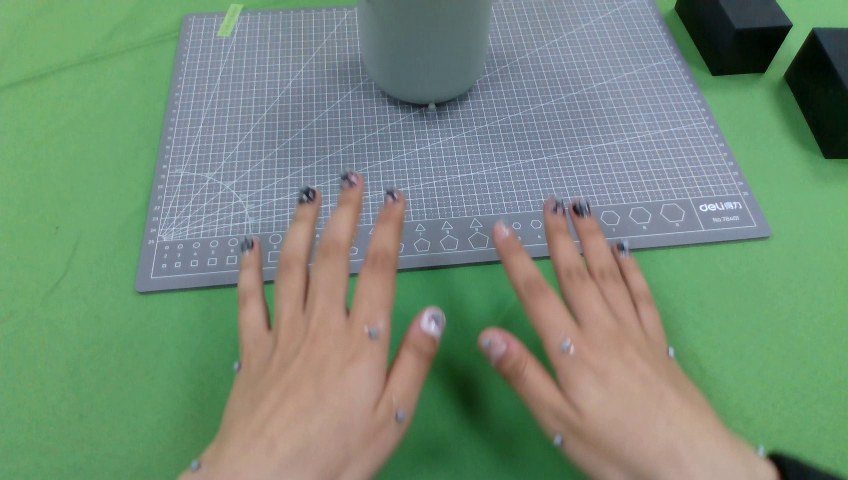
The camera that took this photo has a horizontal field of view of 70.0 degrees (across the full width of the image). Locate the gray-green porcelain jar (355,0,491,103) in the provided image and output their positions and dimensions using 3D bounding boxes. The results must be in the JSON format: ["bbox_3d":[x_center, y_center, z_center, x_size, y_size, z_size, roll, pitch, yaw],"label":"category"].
[{"bbox_3d":[-0.001,-0.182,0.477,0.106,0.127,0.105,1,56,-1],"label":"gray-green porcelain jar"}]
